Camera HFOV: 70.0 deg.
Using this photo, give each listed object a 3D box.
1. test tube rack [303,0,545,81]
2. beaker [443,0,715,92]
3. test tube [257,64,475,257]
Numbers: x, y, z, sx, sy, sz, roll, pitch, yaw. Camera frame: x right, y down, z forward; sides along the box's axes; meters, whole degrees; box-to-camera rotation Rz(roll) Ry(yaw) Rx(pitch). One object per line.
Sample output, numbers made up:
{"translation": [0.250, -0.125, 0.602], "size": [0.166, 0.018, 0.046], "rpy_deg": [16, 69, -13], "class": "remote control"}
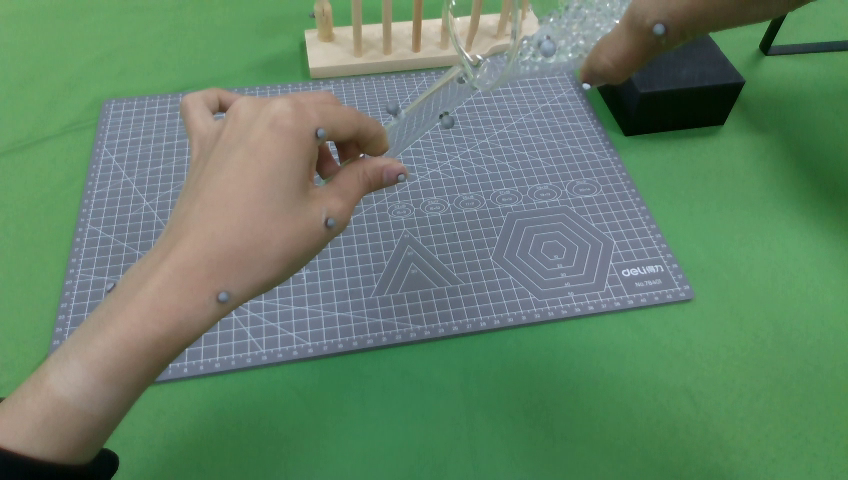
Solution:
{"translation": [0.001, -0.224, 0.599], "size": [0.243, 0.086, 0.066], "rpy_deg": [-8, 52, -8], "class": "test tube rack"}
{"translation": [0.066, -0.109, 0.264], "size": [0.100, 0.084, 0.073], "rpy_deg": [-15, 59, -14], "class": "beaker"}
{"translation": [-0.035, -0.036, 0.311], "size": [0.150, 0.017, 0.017], "rpy_deg": [-37, 49, 22], "class": "test tube"}
